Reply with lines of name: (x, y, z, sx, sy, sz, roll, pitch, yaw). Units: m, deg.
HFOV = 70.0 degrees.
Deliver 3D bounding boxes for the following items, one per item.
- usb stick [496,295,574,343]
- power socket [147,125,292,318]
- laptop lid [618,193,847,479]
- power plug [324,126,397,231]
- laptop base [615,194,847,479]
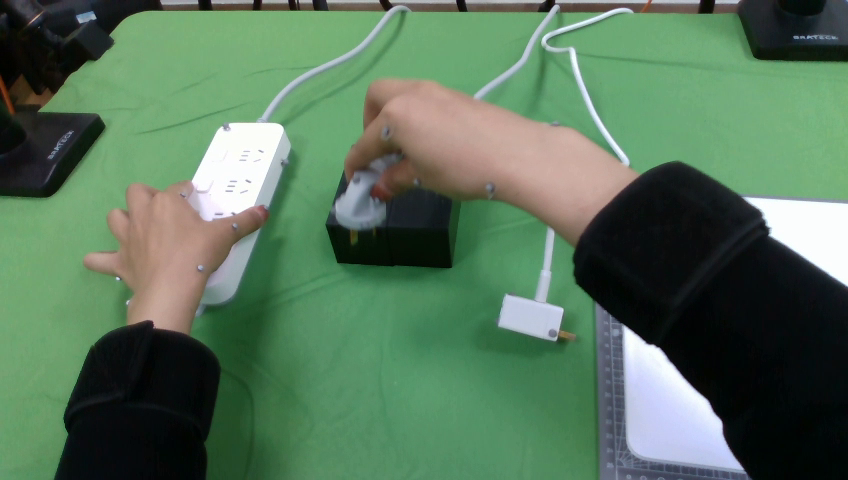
usb stick: (0.085, 0.061, 0.454, 0.059, 0.021, 0.027, 18, 88, 5)
power socket: (-0.182, -0.030, 0.561, 0.072, 0.033, 0.224, 3, 49, 7)
laptop lid: (0.319, 0.062, 0.423, 0.356, 0.013, 0.239, 6, 52, 11)
power plug: (-0.047, -0.042, 0.411, 0.035, 0.073, 0.053, 12, 16, 24)
laptop base: (0.320, 0.068, 0.433, 0.353, 0.023, 0.233, 5, 53, 10)
